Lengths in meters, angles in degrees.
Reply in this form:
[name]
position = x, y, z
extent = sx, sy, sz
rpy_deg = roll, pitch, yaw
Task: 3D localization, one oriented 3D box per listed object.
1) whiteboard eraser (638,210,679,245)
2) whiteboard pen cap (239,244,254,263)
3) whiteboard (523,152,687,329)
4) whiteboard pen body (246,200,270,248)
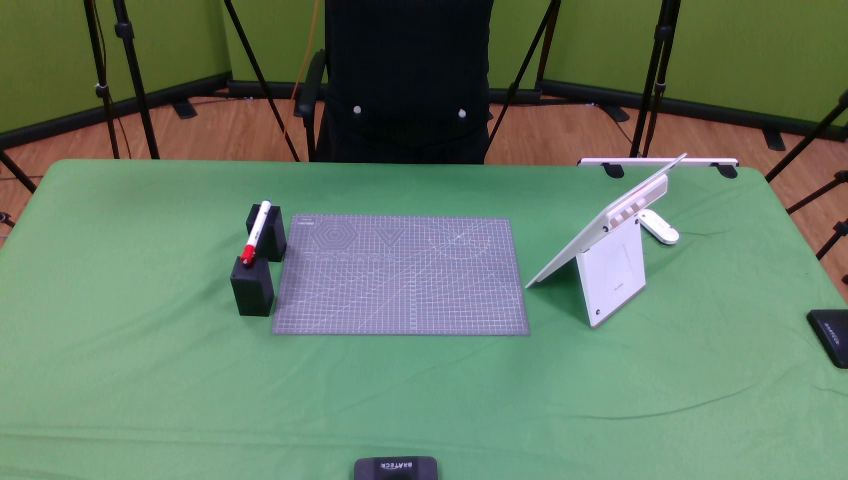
[whiteboard eraser]
position = 0.485, -0.027, 1.260
extent = 0.041, 0.019, 0.100
rpy_deg = -21, 50, -21
[whiteboard pen cap]
position = -0.298, 0.022, 1.016
extent = 0.017, 0.017, 0.032
rpy_deg = 6, 45, 2
[whiteboard]
position = 0.346, 0.024, 1.047
extent = 0.217, 0.306, 0.143
rpy_deg = -30, 74, -29
[whiteboard pen body]
position = -0.293, -0.020, 1.059
extent = 0.017, 0.017, 0.139
rpy_deg = 5, 46, 0
